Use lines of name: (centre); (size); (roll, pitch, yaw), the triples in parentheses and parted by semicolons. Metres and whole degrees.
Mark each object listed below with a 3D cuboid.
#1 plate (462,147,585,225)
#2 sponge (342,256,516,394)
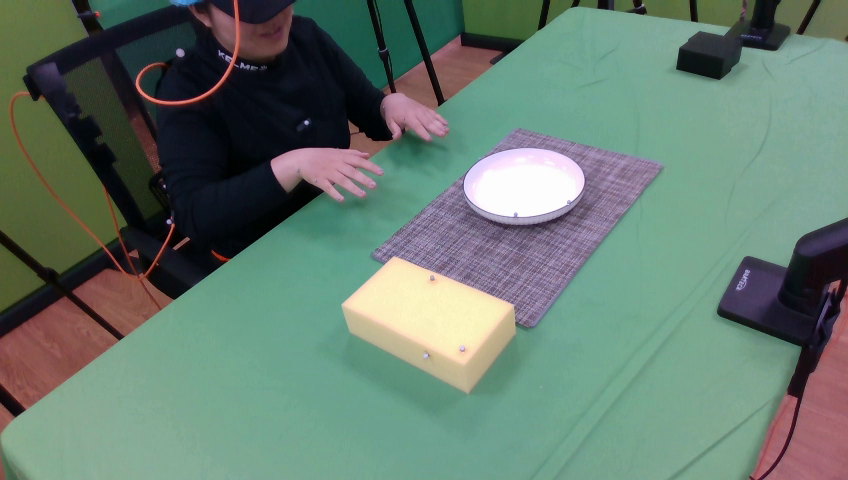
plate: (0.170, -0.089, 1.041); (0.207, 0.039, 0.206); (-5, 40, 5)
sponge: (0.006, 0.109, 0.827); (0.205, 0.061, 0.118); (20, 48, 30)
